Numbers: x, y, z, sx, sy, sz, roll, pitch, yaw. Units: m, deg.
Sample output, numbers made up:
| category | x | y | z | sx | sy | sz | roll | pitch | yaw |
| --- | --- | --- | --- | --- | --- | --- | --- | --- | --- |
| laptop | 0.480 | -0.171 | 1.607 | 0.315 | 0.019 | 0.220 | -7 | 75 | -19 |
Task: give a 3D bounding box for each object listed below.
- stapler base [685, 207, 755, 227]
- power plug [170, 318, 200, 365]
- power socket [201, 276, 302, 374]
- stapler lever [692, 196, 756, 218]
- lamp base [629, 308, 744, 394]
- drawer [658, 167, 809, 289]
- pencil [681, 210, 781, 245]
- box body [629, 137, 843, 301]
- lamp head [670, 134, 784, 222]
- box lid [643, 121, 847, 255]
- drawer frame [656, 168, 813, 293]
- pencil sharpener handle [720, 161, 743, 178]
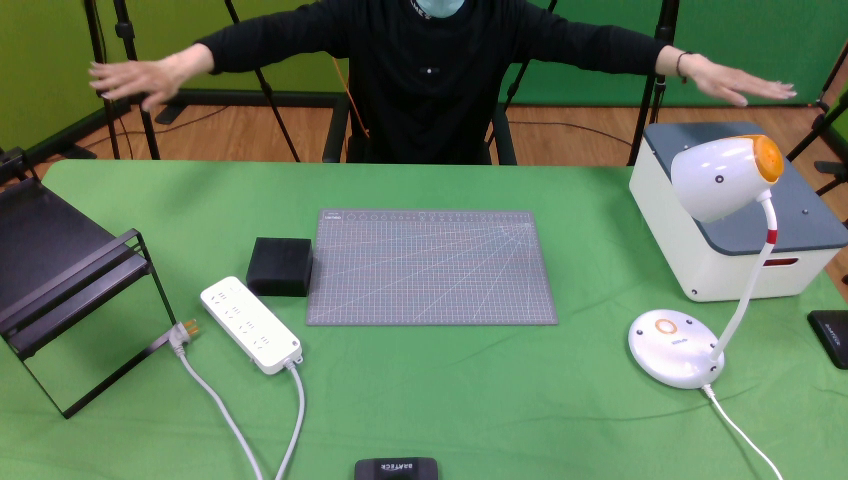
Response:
| category | x | y | z | sx | sy | sz | roll | pitch | yaw |
| --- | --- | --- | --- | --- | --- | --- | --- | --- | --- |
| stapler base | 0.590 | -0.051 | 1.205 | 0.130 | 0.024 | 0.041 | 3 | 58 | 11 |
| power plug | -0.392 | 0.167 | 1.013 | 0.052 | 0.035 | 0.072 | -31 | 89 | -23 |
| power socket | -0.297 | 0.141 | 1.034 | 0.072 | 0.033 | 0.225 | -34 | 58 | -30 |
| stapler lever | 0.588 | -0.065 | 1.185 | 0.118 | 0.040 | 0.026 | 2 | 58 | 12 |
| lamp base | 0.446 | 0.139 | 0.987 | 0.161 | 0.181 | 0.178 | -18 | 53 | -20 |
| drawer | 0.584 | -0.024 | 1.164 | 0.194 | 0.073 | 0.210 | -11 | 55 | 3 |
| pencil | 0.599 | -0.027 | 1.186 | 0.194 | 0.012 | 0.012 | 19 | 48 | 10 |
| box body | 0.593 | -0.062 | 1.202 | 0.254 | 0.161 | 0.361 | -3 | 47 | -7 |
| lamp head | 0.422 | -0.089 | 0.829 | 0.113 | 0.123 | 0.112 | 8 | 74 | -32 |
| box lid | 0.596 | -0.115 | 1.150 | 0.263 | 0.015 | 0.369 | -3 | 46 | -7 |
| drawer frame | 0.583 | -0.022 | 1.161 | 0.202 | 0.083 | 0.212 | -11 | 54 | 2 |
| pencil sharpener handle | 0.666 | -0.149 | 1.300 | 0.031 | 0.068 | 0.036 | -10 | 83 | -13 |
